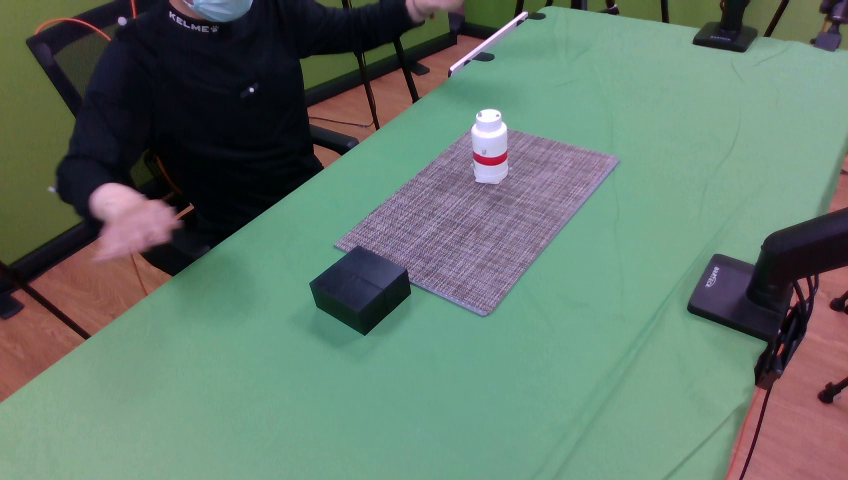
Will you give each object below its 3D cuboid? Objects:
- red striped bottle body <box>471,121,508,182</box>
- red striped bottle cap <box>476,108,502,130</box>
[{"bbox_3d":[0.116,-0.167,1.064,0.063,0.120,0.062,-4,41,4],"label":"red striped bottle body"},{"bbox_3d":[0.110,-0.206,1.030,0.044,0.018,0.044,-5,44,5],"label":"red striped bottle cap"}]
